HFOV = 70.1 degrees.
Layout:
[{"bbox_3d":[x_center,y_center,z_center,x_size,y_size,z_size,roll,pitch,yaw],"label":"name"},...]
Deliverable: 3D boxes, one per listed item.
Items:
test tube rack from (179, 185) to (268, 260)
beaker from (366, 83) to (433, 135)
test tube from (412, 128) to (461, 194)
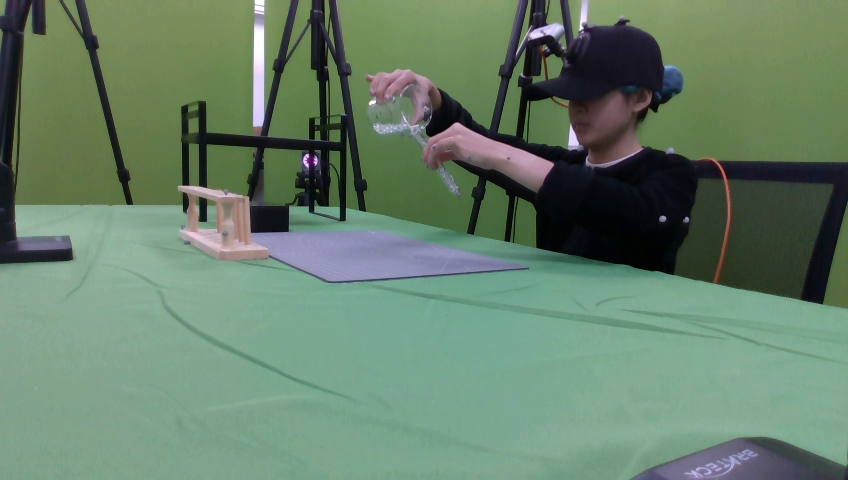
[{"bbox_3d":[-0.303,-0.031,0.898,0.067,0.085,0.241,-2,9,-33],"label":"test tube rack"},{"bbox_3d":[-0.045,-0.220,1.048,0.074,0.084,0.100,2,-2,-43],"label":"beaker"},{"bbox_3d":[0.019,-0.129,0.977,0.017,0.017,0.149,-3,50,-39],"label":"test tube"}]
